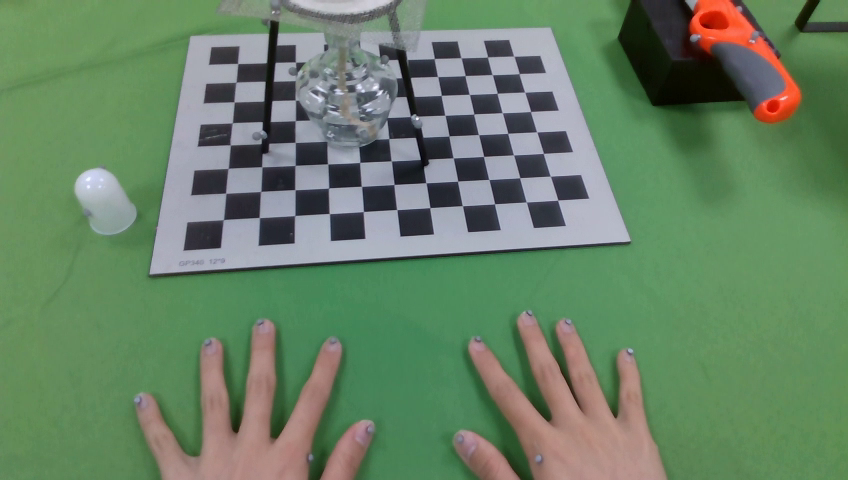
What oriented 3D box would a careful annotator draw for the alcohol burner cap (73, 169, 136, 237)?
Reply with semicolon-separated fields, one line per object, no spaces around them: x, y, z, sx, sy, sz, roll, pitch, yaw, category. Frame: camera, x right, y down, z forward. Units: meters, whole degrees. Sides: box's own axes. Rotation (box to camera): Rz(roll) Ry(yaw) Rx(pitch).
-0.225;-0.028;0.421;0.034;0.048;0.033;3;54;-3;alcohol burner cap

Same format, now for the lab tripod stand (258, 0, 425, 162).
-0.058;-0.133;0.447;0.148;0.132;0.147;3;53;-4;lab tripod stand

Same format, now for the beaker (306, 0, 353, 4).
-0.059;-0.197;0.351;0.074;0.101;0.083;3;55;-3;beaker

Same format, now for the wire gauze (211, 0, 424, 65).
-0.058;-0.169;0.392;0.125;0.011;0.120;13;56;0;wire gauze

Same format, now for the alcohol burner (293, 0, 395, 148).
-0.062;-0.128;0.455;0.078;0.120;0.077;1;55;-1;alcohol burner

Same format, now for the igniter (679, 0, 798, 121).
0.248;-0.199;0.528;0.057;0.025;0.273;-6;53;-4;igniter
